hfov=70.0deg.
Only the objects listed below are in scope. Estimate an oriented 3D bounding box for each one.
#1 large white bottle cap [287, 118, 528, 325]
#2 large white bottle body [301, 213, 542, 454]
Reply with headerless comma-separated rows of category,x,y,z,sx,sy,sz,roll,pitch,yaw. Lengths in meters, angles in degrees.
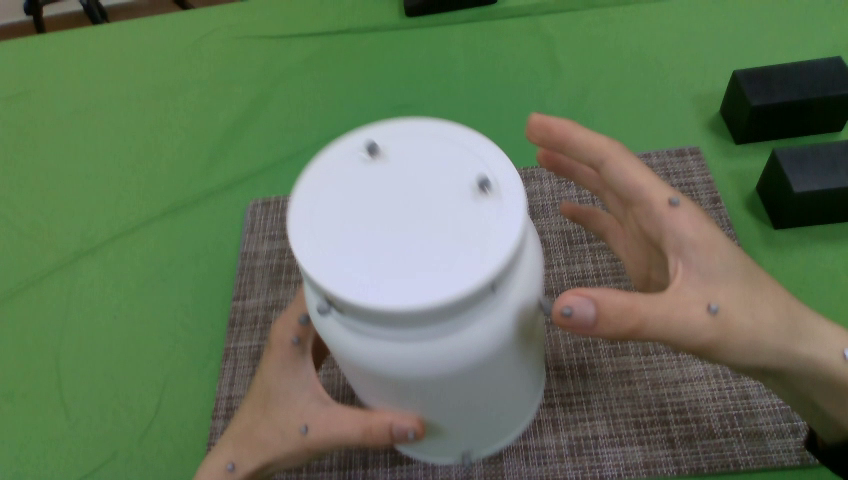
large white bottle cap,-0.008,-0.014,0.291,0.115,0.018,0.113,-2,55,4
large white bottle body,0.005,0.038,0.363,0.130,0.186,0.129,-5,53,7
